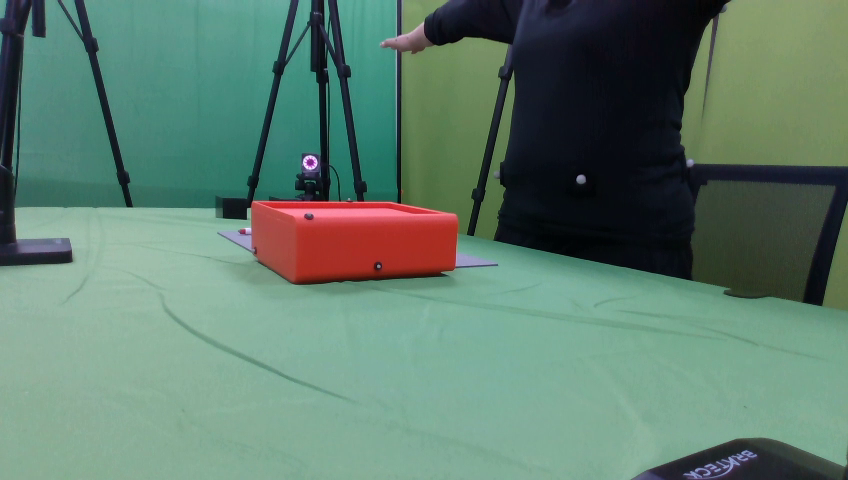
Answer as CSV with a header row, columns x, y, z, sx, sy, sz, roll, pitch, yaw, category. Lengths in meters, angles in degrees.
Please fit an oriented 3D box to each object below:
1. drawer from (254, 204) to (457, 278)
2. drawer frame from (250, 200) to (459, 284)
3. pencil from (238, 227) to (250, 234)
x,y,z,sx,sy,sz,roll,pitch,yaw,category
-0.094,-0.005,0.790,0.213,0.073,0.193,-3,10,-30,drawer
-0.096,-0.005,0.788,0.215,0.082,0.200,-3,10,-30,drawer frame
-0.240,-0.015,1.105,0.195,0.012,0.012,1,7,-30,pencil
